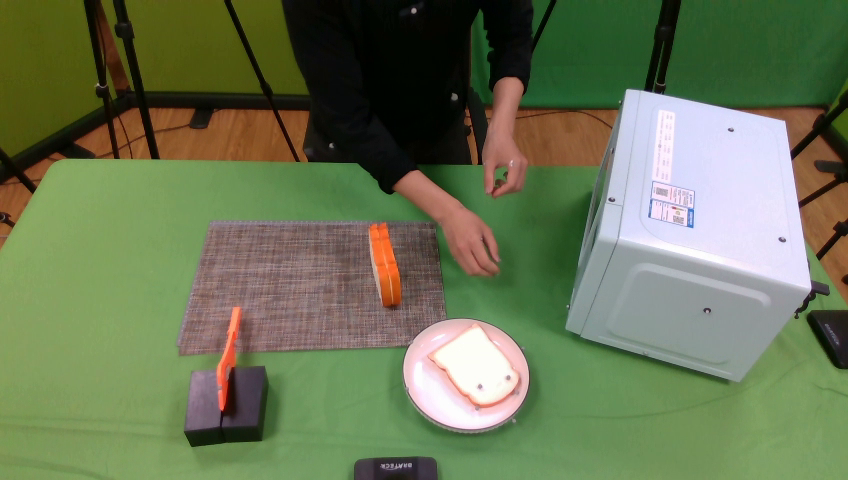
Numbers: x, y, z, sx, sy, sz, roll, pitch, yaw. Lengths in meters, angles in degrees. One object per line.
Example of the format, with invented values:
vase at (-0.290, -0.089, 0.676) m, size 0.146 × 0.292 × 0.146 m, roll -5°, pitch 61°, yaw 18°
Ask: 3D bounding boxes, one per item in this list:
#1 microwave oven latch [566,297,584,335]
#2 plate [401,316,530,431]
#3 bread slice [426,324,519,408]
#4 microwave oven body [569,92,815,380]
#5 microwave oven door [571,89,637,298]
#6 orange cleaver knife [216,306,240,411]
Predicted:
microwave oven latch at (0.268, 0.126, 1.059) m, size 0.030 × 0.029 × 0.079 m, roll 16°, pitch 46°, yaw 12°
plate at (0.066, 0.217, 0.982) m, size 0.208 × 0.039 × 0.206 m, roll 2°, pitch 46°, yaw -2°
bread slice at (0.087, 0.209, 0.989) m, size 0.107 × 0.018 × 0.133 m, roll -32°, pitch 57°, yaw -26°
microwave oven body at (0.468, -0.022, 1.082) m, size 0.325 × 0.261 × 0.440 m, roll 15°, pitch 46°, yaw 11°
microwave oven door at (0.342, -0.091, 1.133) m, size 0.039 × 0.245 × 0.354 m, roll 15°, pitch 47°, yaw 10°
orange cleaver knife at (-0.307, 0.180, 0.957) m, size 0.012 × 0.077 × 0.210 m, roll -2°, pitch 25°, yaw -8°
